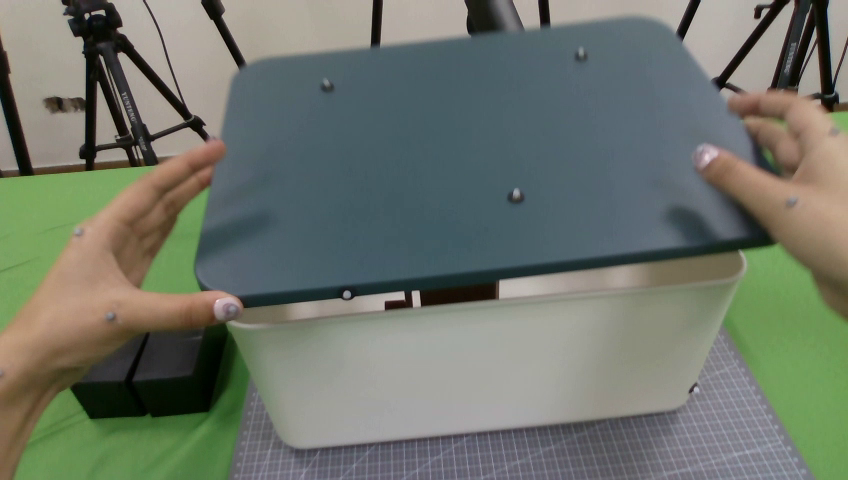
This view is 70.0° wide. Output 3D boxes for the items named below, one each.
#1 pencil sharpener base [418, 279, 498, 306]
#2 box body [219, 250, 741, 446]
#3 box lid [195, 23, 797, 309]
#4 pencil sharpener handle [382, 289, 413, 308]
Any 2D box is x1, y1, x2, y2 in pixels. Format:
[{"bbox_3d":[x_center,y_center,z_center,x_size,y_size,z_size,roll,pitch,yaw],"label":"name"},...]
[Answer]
[{"bbox_3d":[0.026,0.045,0.554,0.077,0.108,0.061,-4,38,0],"label":"pencil sharpener base"},{"bbox_3d":[0.039,0.027,0.544,0.364,0.162,0.251,-6,38,-2],"label":"box body"},{"bbox_3d":[0.033,-0.074,0.438,0.372,0.015,0.260,-7,47,-2],"label":"box lid"},{"bbox_3d":[-0.026,0.038,0.546,0.030,0.068,0.035,-4,36,0],"label":"pencil sharpener handle"}]
